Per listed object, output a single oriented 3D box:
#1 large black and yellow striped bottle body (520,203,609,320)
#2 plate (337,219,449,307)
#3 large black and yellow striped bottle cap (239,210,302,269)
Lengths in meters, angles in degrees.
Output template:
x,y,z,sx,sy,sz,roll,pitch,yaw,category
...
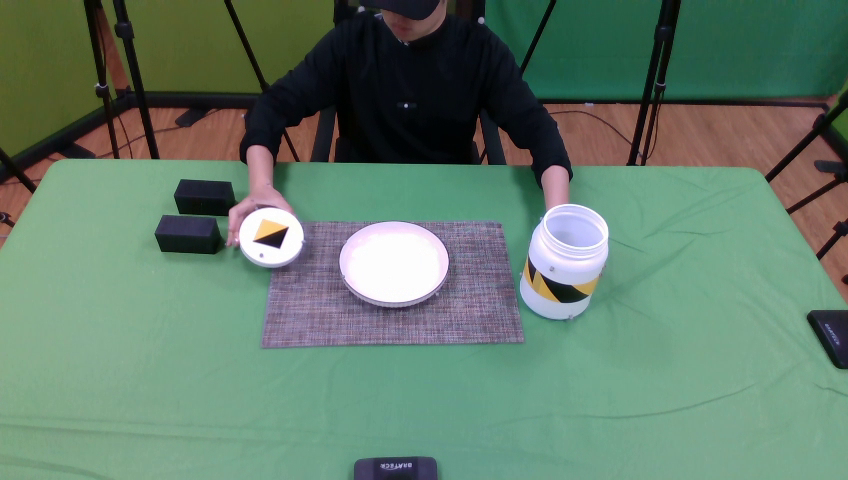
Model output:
x,y,z,sx,sy,sz,roll,pitch,yaw,category
0.247,0.038,1.065,0.131,0.185,0.130,2,46,-2,large black and yellow striped bottle body
-0.057,0.045,1.133,0.208,0.039,0.206,2,46,-2,plate
-0.283,-0.003,1.118,0.115,0.019,0.114,7,63,-14,large black and yellow striped bottle cap
